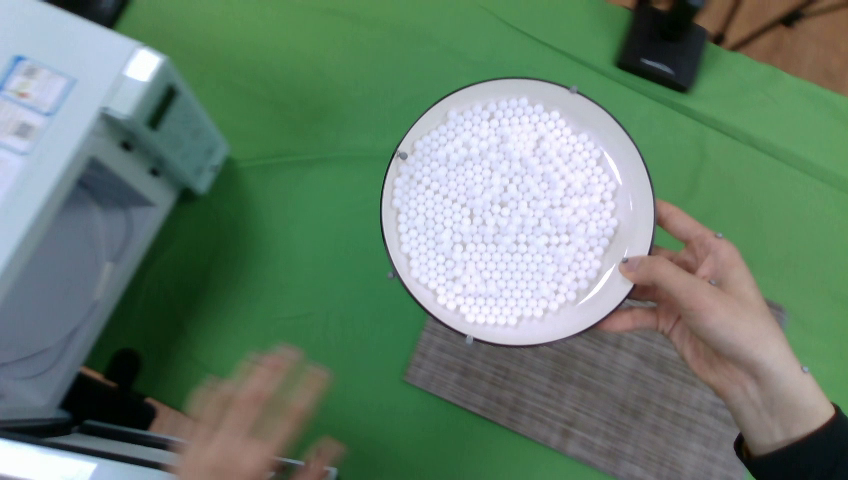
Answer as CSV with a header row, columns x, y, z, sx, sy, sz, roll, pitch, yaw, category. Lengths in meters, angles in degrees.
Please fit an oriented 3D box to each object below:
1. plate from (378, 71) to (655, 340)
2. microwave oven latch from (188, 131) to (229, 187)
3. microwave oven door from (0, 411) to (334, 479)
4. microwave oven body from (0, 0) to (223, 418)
x,y,z,sx,sy,sz,roll,pitch,yaw,category
0.070,-0.027,0.469,0.209,0.038,0.208,0,80,0,plate
-0.297,-0.114,0.824,0.030,0.029,0.079,26,77,4,microwave oven latch
-0.286,0.231,0.635,0.356,0.245,0.039,10,75,0,microwave oven door
-0.500,-0.039,0.697,0.326,0.261,0.440,24,77,3,microwave oven body
